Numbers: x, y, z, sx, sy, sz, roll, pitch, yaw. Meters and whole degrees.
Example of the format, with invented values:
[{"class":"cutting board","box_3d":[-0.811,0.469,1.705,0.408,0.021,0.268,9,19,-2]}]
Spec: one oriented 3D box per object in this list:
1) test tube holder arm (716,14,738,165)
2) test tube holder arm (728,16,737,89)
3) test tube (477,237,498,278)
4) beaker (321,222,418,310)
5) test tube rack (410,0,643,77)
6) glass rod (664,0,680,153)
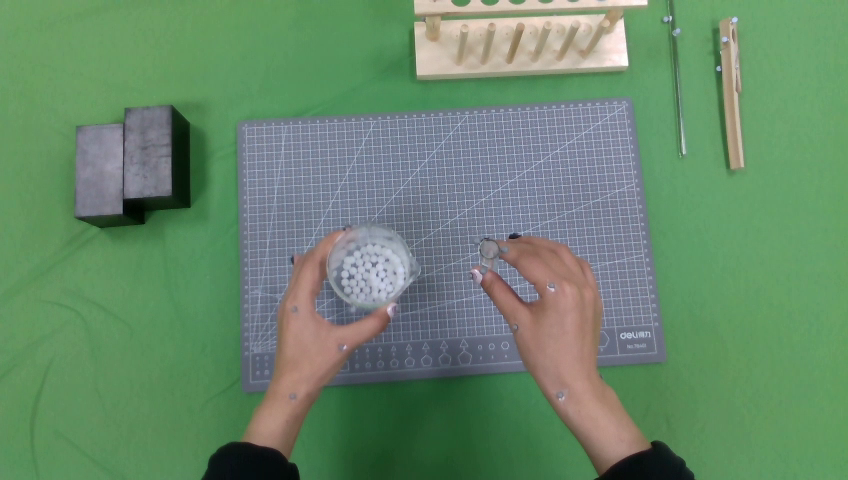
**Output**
[{"class":"test tube holder arm","box_3d":[0.345,-0.172,0.690,0.013,0.015,0.177,8,79,-29]},{"class":"test tube holder arm","box_3d":[0.352,-0.216,0.701,0.010,0.015,0.087,8,79,-29]},{"class":"test tube","box_3d":[0.054,0.018,0.516,0.017,0.151,0.017,-1,80,6]},{"class":"beaker","box_3d":[-0.050,0.029,0.572,0.084,0.100,0.073,4,80,-3]},{"class":"test tube rack","box_3d":[0.107,-0.234,0.667,0.242,0.085,0.066,-3,80,-1]},{"class":"glass rod","box_3d":[0.286,-0.196,0.702,0.008,0.008,0.199,1,80,-1]}]
